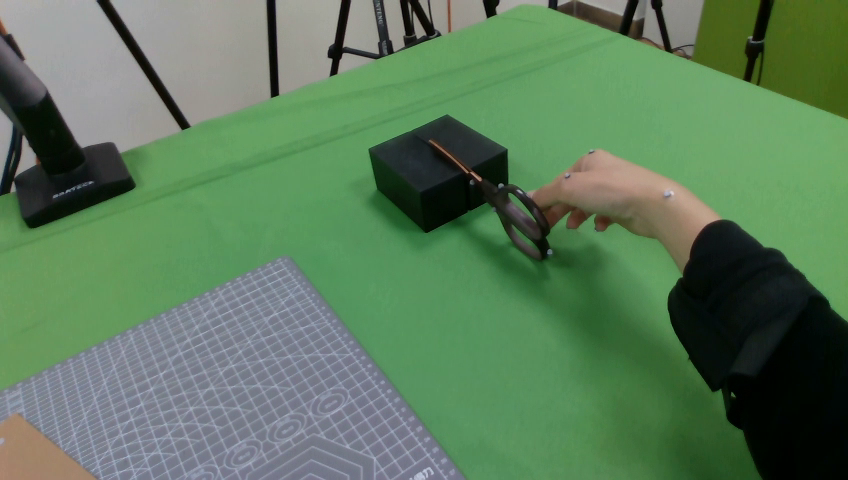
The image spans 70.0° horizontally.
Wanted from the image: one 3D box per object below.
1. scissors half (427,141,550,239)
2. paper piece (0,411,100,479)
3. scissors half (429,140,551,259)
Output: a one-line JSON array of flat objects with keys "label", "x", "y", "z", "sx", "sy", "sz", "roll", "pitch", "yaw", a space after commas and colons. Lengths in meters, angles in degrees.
[{"label": "scissors half", "x": 0.052, "y": -0.054, "z": 0.551, "sx": 0.013, "sy": 0.040, "sz": 0.173, "roll": -36, "pitch": 46, "yaw": -13}, {"label": "paper piece", "x": -0.300, "y": 0.190, "z": 0.399, "sx": 0.135, "sy": 0.009, "sz": 0.138, "roll": 23, "pitch": 48, "yaw": 26}, {"label": "scissors half", "x": 0.055, "y": -0.042, "z": 0.567, "sx": 0.013, "sy": 0.040, "sz": 0.173, "roll": -32, "pitch": 62, "yaw": -17}]
